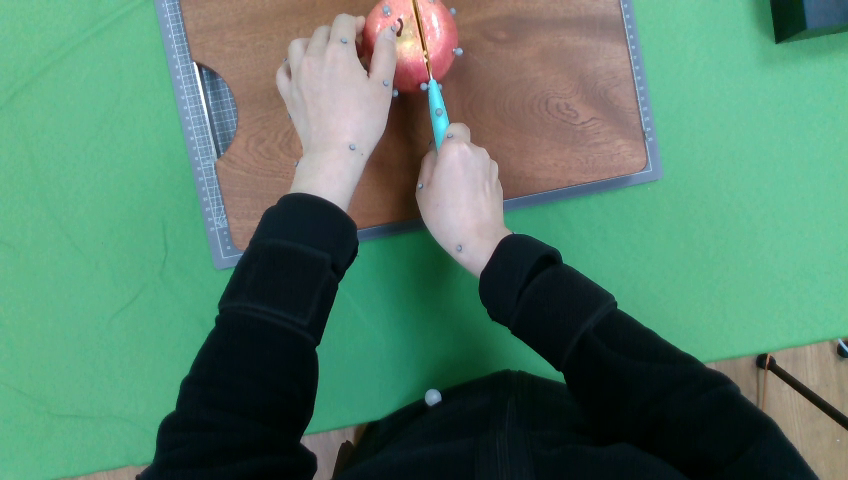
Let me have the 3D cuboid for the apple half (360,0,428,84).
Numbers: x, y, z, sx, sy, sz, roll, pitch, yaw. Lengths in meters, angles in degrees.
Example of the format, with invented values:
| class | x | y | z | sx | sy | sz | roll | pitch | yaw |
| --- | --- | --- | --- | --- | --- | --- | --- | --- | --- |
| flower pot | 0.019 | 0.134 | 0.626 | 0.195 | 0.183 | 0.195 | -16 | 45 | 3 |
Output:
| class | x | y | z | sx | sy | sz | roll | pitch | yaw |
| --- | --- | --- | --- | --- | --- | --- | --- | --- | --- |
| apple half | -0.028 | -0.174 | 0.527 | 0.053 | 0.074 | 0.081 | -13 | 97 | 6 |

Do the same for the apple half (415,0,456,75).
| class | x | y | z | sx | sy | sz | roll | pitch | yaw |
| --- | --- | --- | --- | --- | --- | --- | --- | --- | --- |
| apple half | 0.011 | -0.183 | 0.526 | 0.033 | 0.081 | 0.081 | -13 | 93 | 0 |

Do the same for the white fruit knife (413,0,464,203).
| class | x | y | z | sx | sy | sz | roll | pitch | yaw |
| --- | --- | --- | --- | --- | --- | --- | --- | --- | --- |
| white fruit knife | 0.006 | -0.134 | 0.518 | 0.016 | 0.027 | 0.207 | -13 | 96 | -3 |
